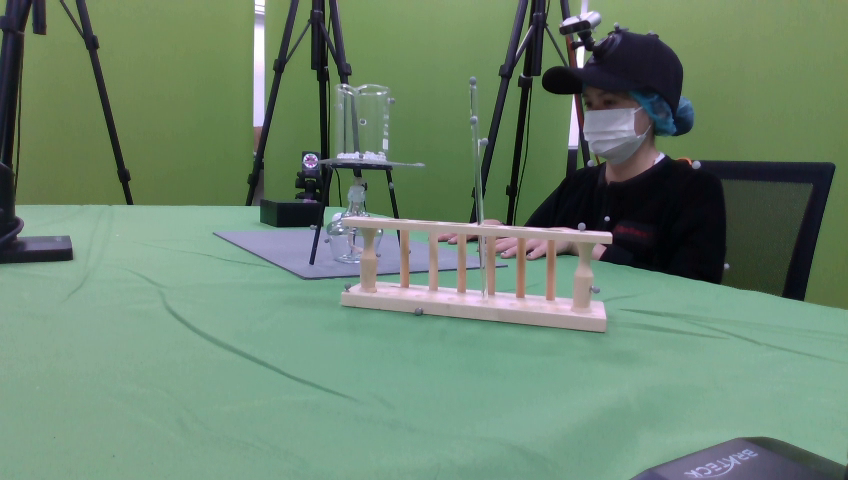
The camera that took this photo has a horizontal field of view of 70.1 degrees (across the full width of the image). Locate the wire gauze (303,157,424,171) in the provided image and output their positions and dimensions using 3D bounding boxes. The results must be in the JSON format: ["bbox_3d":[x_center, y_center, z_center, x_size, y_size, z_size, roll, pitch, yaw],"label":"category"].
[{"bbox_3d":[-0.082,-0.101,0.799,0.126,0.011,0.121,1,7,-30],"label":"wire gauze"}]

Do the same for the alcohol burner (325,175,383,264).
[{"bbox_3d":[-0.093,-0.028,0.816,0.078,0.119,0.078,3,5,0],"label":"alcohol burner"}]

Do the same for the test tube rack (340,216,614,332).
[{"bbox_3d":[0.048,0.026,0.568,0.242,0.085,0.067,4,8,13],"label":"test tube rack"}]

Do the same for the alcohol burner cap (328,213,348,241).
[{"bbox_3d":[-0.148,-0.024,1.050,0.034,0.048,0.034,3,7,0],"label":"alcohol burner cap"}]

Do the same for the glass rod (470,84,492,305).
[{"bbox_3d":[0.051,-0.036,0.535,0.008,0.199,0.008,-5,10,1],"label":"glass rod"}]

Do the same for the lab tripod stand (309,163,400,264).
[{"bbox_3d":[-0.091,-0.037,0.813,0.148,0.131,0.148,1,6,0],"label":"lab tripod stand"}]

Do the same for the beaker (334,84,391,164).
[{"bbox_3d":[-0.082,-0.149,0.792,0.074,0.100,0.084,2,5,4],"label":"beaker"}]
